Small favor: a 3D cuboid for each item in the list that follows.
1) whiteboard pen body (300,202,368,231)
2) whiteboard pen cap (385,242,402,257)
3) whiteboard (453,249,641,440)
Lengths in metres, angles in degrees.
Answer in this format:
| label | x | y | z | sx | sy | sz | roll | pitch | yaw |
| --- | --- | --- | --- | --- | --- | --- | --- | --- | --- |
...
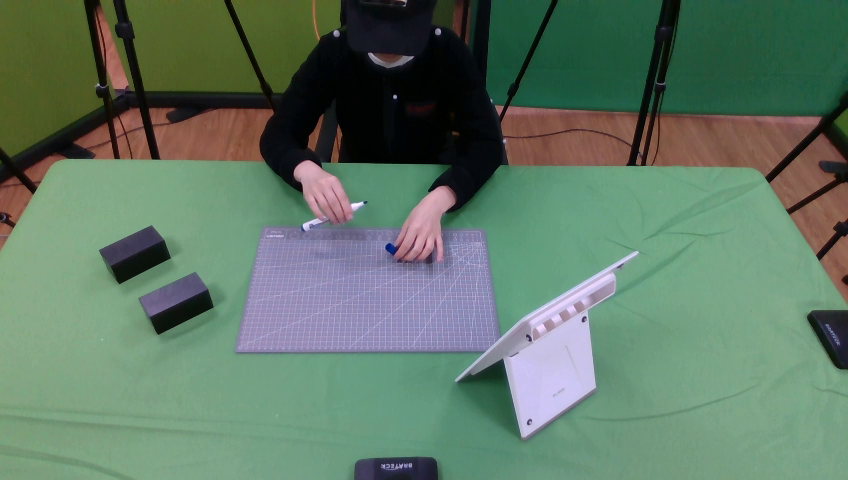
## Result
| label | x | y | z | sx | sy | sz | roll | pitch | yaw |
| --- | --- | --- | --- | --- | --- | --- | --- | --- | --- |
| whiteboard pen body | -0.168 | -0.046 | 1.129 | 0.141 | 0.017 | 0.017 | -20 | 45 | 14 |
| whiteboard pen cap | -0.059 | 0.018 | 1.156 | 0.018 | 0.033 | 0.018 | -19 | 53 | 28 |
| whiteboard | 0.206 | 0.174 | 0.890 | 0.217 | 0.306 | 0.143 | -25 | 72 | -25 |
